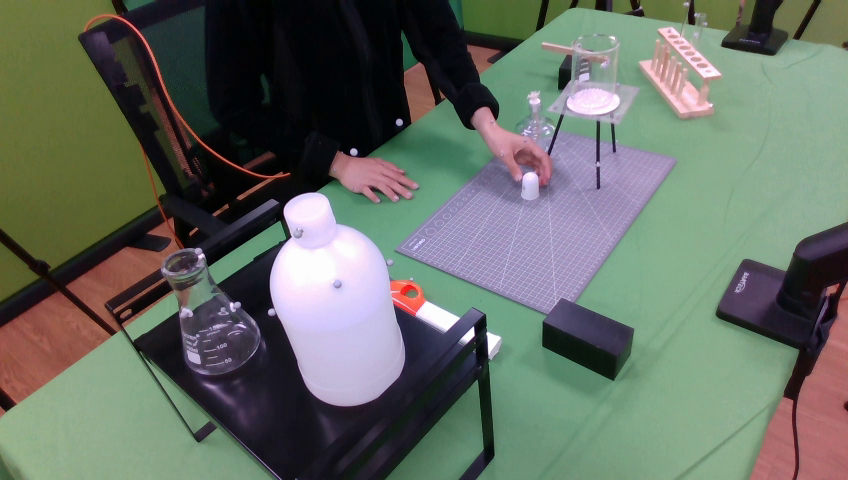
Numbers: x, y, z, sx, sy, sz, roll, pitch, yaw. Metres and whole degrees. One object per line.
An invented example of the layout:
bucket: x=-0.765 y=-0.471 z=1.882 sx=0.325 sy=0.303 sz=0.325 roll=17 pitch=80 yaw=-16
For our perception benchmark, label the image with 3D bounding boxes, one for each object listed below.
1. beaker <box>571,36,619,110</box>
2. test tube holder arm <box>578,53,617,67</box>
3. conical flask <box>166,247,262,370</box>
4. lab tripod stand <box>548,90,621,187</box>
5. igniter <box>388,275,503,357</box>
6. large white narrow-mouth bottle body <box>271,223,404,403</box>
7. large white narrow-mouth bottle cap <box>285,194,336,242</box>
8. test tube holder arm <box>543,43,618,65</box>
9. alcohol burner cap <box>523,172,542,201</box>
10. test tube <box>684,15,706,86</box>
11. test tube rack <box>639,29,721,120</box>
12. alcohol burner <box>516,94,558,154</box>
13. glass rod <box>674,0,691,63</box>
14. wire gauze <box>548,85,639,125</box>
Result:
beaker: x=0.281 y=-0.273 z=0.992 sx=0.084 sy=0.101 sz=0.073 roll=-24 pitch=42 yaw=-16
test tube holder arm: x=0.376 y=-0.393 z=1.314 sx=0.087 sy=0.015 sz=0.010 roll=26 pitch=51 yaw=32
conical flask: x=-0.209 y=0.064 z=0.584 sx=0.075 sy=0.122 sz=0.075 roll=-5 pitch=40 yaw=4
lab tripod stand: x=0.289 y=-0.184 z=1.062 sx=0.148 sy=0.132 sz=0.147 roll=-6 pitch=41 yaw=6
igniter: x=-0.008 y=0.093 z=0.870 sx=0.274 sy=0.025 sz=0.057 roll=24 pitch=60 yaw=33
large white narrow-mouth bottle body: x=-0.077 y=0.048 z=0.525 sx=0.102 sy=0.195 sz=0.101 roll=-5 pitch=40 yaw=5
large white narrow-mouth bottle cap: x=-0.087 y=-0.018 z=0.467 sx=0.038 sy=0.024 sz=0.037 roll=-5 pitch=40 yaw=4
test tube holder arm: x=0.344 y=-0.413 z=1.340 sx=0.177 sy=0.015 sz=0.013 roll=25 pitch=51 yaw=31
alcohol burner cap: x=0.186 y=-0.096 z=1.046 sx=0.034 sy=0.048 sz=0.033 roll=-6 pitch=36 yaw=5
test tube: x=0.541 y=-0.378 z=1.215 sx=0.017 sy=0.151 sz=0.017 roll=-2 pitch=44 yaw=3
test tube rack: x=0.527 y=-0.351 z=1.262 sx=0.067 sy=0.085 sz=0.241 roll=-8 pitch=40 yaw=1
alcohol burner: x=0.212 y=-0.222 z=1.134 sx=0.078 sy=0.119 sz=0.077 roll=-5 pitch=43 yaw=5
glass rod: x=0.537 y=-0.437 z=1.257 sx=0.008 sy=0.200 sz=0.008 roll=0 pitch=39 yaw=1
wire gauze: x=0.286 y=-0.233 z=1.020 sx=0.124 sy=0.011 sz=0.122 roll=15 pitch=43 yaw=30
